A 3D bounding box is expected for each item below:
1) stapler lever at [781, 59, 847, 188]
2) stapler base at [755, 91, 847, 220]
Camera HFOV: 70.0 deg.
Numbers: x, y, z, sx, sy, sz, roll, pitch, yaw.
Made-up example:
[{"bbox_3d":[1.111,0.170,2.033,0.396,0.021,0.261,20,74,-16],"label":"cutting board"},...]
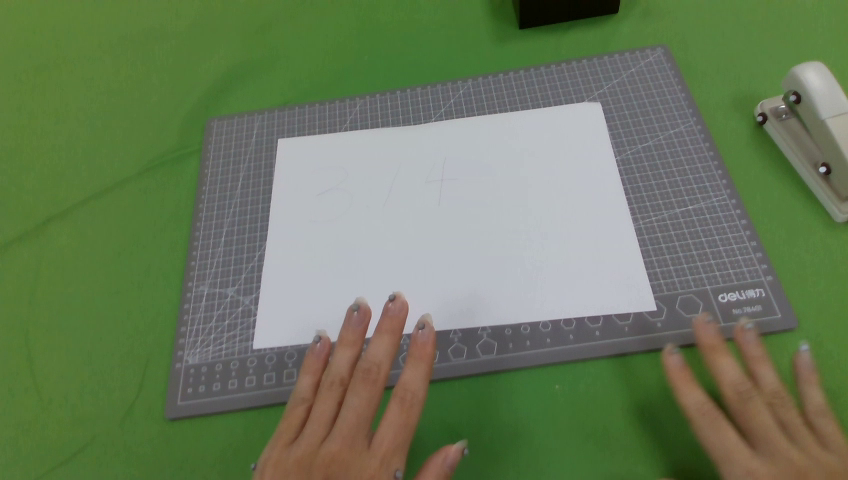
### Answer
[{"bbox_3d":[0.312,-0.088,0.460,0.027,0.040,0.117,-17,59,1],"label":"stapler lever"},{"bbox_3d":[0.315,-0.077,0.482,0.041,0.024,0.129,-17,59,1],"label":"stapler base"}]
